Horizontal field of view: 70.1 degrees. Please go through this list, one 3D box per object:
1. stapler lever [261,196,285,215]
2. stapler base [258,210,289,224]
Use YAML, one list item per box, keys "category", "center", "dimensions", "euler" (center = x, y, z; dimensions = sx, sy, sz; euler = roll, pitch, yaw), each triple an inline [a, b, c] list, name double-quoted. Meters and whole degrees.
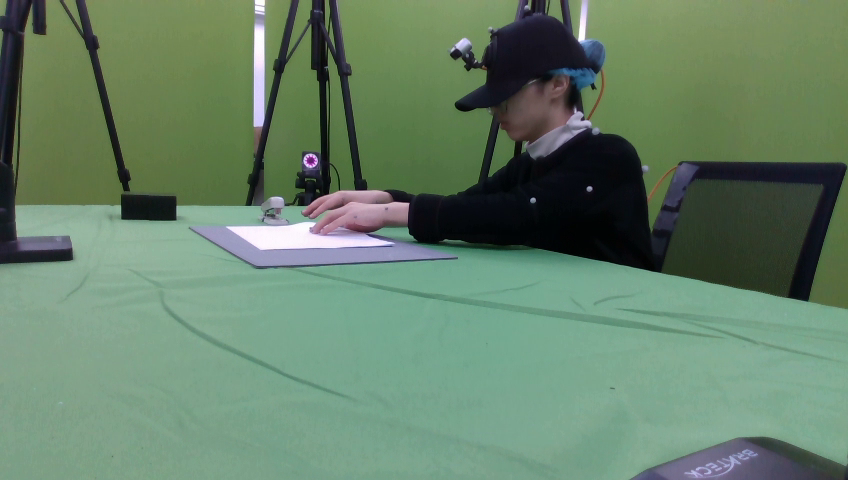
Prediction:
- category: "stapler lever"
  center: [-0.323, -0.076, 1.293]
  dimensions: [0.027, 0.040, 0.117]
  euler: [2, 6, -27]
- category: "stapler base"
  center: [-0.323, -0.051, 1.295]
  dimensions: [0.041, 0.024, 0.130]
  euler: [2, 5, -27]
